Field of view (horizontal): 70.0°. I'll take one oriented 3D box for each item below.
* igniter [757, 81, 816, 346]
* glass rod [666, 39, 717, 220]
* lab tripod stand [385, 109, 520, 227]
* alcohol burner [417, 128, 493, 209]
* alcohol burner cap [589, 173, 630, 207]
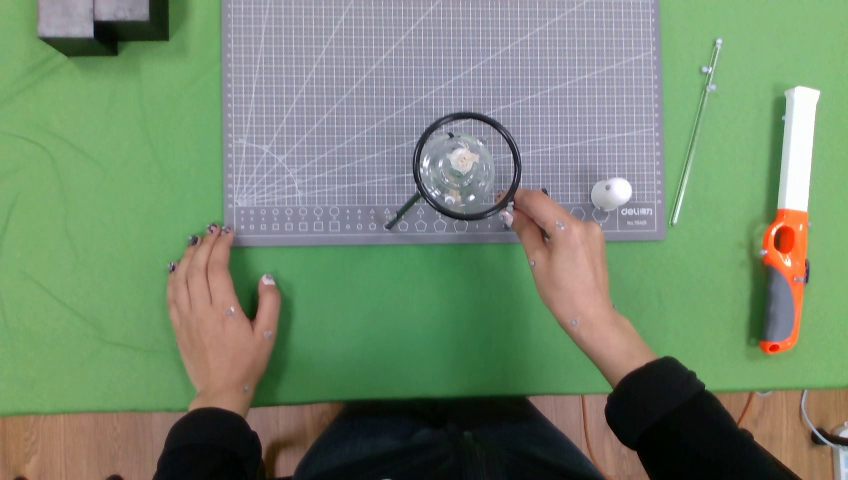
[{"bbox_3d":[0.378,-0.026,0.632,0.057,0.025,0.276,7,88,-14],"label":"igniter"},{"bbox_3d":[0.281,-0.117,0.637,0.008,0.008,0.199,16,88,-3],"label":"glass rod"},{"bbox_3d":[0.026,-0.061,0.552,0.148,0.131,0.148,0,85,-4],"label":"lab tripod stand"},{"bbox_3d":[0.029,-0.070,0.564,0.078,0.119,0.078,0,86,-4],"label":"alcohol burner"},{"bbox_3d":[0.189,-0.051,0.610,0.034,0.048,0.034,0,87,-3],"label":"alcohol burner cap"}]
